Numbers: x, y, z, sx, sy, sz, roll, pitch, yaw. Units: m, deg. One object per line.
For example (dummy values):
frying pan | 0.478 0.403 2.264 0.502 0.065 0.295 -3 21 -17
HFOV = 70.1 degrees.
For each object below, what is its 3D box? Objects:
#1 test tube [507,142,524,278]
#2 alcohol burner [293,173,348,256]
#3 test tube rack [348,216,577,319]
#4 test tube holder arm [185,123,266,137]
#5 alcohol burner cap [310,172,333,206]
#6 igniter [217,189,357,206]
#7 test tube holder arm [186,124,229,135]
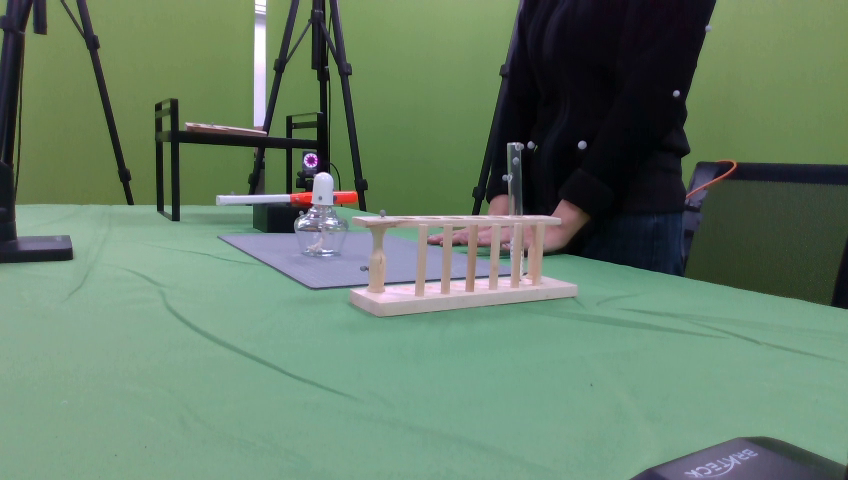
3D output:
test tube | 0.101 -0.032 0.666 0.017 0.150 0.017 -2 6 1
alcohol burner | -0.147 -0.036 0.859 0.078 0.119 0.078 4 8 0
test tube rack | 0.048 0.021 0.619 0.244 0.085 0.066 -2 9 -31
test tube holder arm | -0.434 -0.242 1.333 0.179 0.015 0.013 -4 48 -43
alcohol burner cap | -0.144 -0.071 0.854 0.034 0.048 0.034 4 9 0
igniter | -0.251 -0.081 1.155 0.278 0.025 0.057 -5 8 -32
test tube holder arm | -0.465 -0.236 1.300 0.088 0.015 0.010 -2 47 -42
